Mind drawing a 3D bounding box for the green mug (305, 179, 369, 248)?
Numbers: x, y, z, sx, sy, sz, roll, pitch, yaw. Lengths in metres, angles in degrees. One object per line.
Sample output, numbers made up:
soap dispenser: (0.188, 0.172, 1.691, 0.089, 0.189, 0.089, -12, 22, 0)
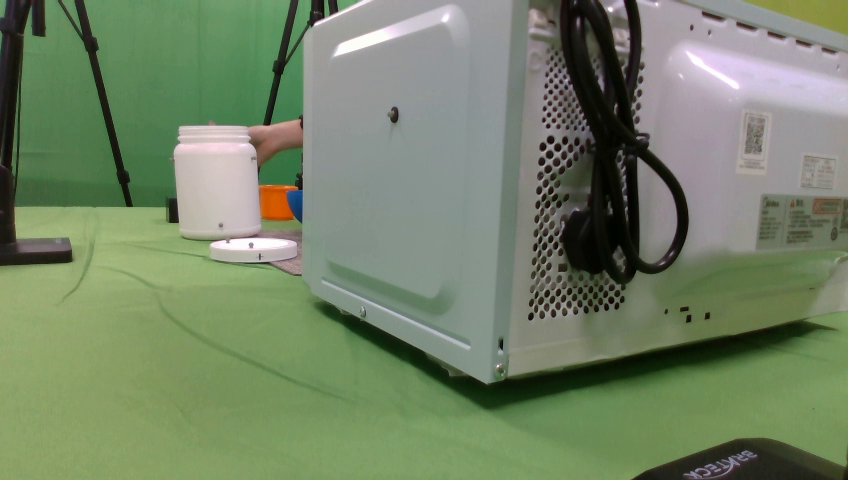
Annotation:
green mug: (-0.133, -0.044, 0.977, 0.092, 0.105, 0.126, 6, 8, 32)

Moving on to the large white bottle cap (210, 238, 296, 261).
large white bottle cap: (-0.236, 0.012, 0.839, 0.115, 0.018, 0.115, 1, 7, 0)

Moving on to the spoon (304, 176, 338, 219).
spoon: (-0.201, -0.084, 1.146, 0.042, 0.021, 0.193, 3, 30, -25)

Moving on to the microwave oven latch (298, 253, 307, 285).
microwave oven latch: (-0.081, 0.027, 0.582, 0.079, 0.029, 0.030, -1, 7, -32)

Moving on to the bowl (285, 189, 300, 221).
bowl: (-0.180, -0.050, 1.113, 0.151, 0.077, 0.151, 3, 8, 0)

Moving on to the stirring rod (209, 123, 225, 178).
stirring rod: (-0.436, -0.191, 1.269, 0.014, 0.006, 0.175, 11, 40, -37)

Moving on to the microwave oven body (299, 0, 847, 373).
microwave oven body: (0.151, -0.055, 0.542, 0.444, 0.260, 0.324, -2, 7, -33)

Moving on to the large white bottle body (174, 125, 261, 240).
large white bottle body: (-0.349, -0.100, 1.025, 0.131, 0.184, 0.130, -1, 9, 0)

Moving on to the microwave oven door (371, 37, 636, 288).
microwave oven door: (0.109, -0.080, 0.686, 0.358, 0.243, 0.039, -2, 9, -33)
